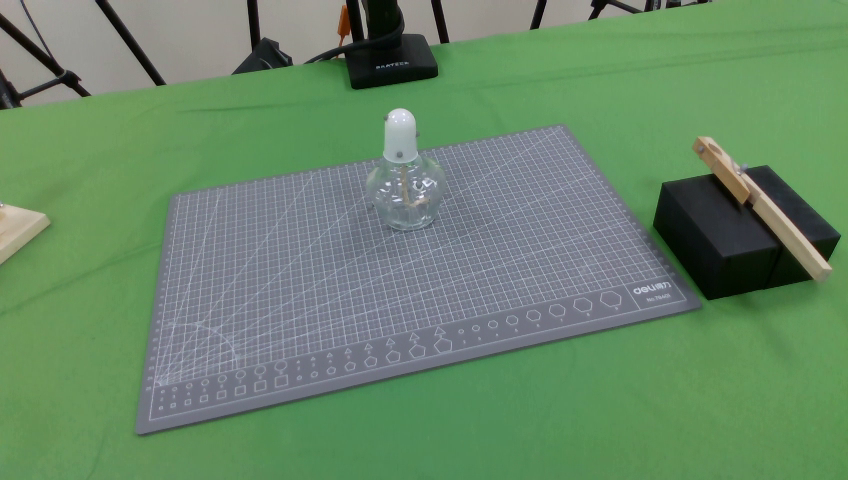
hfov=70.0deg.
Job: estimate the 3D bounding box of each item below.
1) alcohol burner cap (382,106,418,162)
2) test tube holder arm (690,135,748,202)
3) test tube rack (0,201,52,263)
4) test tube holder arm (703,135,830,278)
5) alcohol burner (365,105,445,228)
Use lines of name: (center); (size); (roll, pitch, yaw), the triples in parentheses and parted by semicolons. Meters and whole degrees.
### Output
alcohol burner cap: (-0.022, -0.097, 0.544); (0.034, 0.048, 0.033); (1, 41, -1)
test tube holder arm: (0.262, -0.064, 0.535); (0.010, 0.015, 0.087); (-4, 42, -10)
test tube rack: (-0.469, 0.020, 0.540); (0.066, 0.086, 0.241); (13, 45, 18)
test tube holder arm: (0.276, -0.035, 0.504); (0.013, 0.015, 0.176); (-5, 42, -11)
alcohol burner: (-0.019, -0.071, 0.569); (0.078, 0.120, 0.077); (-3, 41, 3)
